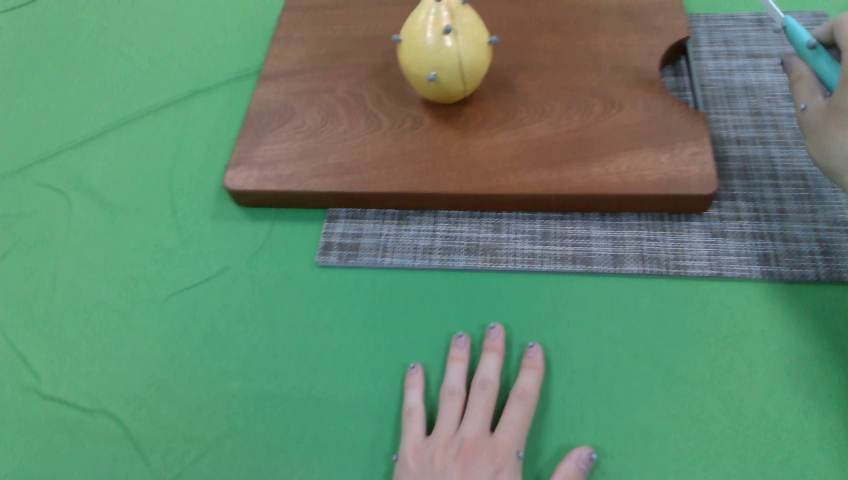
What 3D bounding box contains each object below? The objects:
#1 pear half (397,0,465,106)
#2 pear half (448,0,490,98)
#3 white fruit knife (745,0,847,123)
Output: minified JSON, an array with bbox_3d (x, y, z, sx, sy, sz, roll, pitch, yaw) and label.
[{"bbox_3d":[0.003,-0.164,0.504,0.056,0.111,0.075,-13,53,0],"label":"pear half"},{"bbox_3d":[0.039,-0.164,0.511,0.031,0.089,0.069,-11,53,0],"label":"pear half"},{"bbox_3d":[0.265,-0.154,0.449,0.016,0.027,0.206,-38,77,18],"label":"white fruit knife"}]
